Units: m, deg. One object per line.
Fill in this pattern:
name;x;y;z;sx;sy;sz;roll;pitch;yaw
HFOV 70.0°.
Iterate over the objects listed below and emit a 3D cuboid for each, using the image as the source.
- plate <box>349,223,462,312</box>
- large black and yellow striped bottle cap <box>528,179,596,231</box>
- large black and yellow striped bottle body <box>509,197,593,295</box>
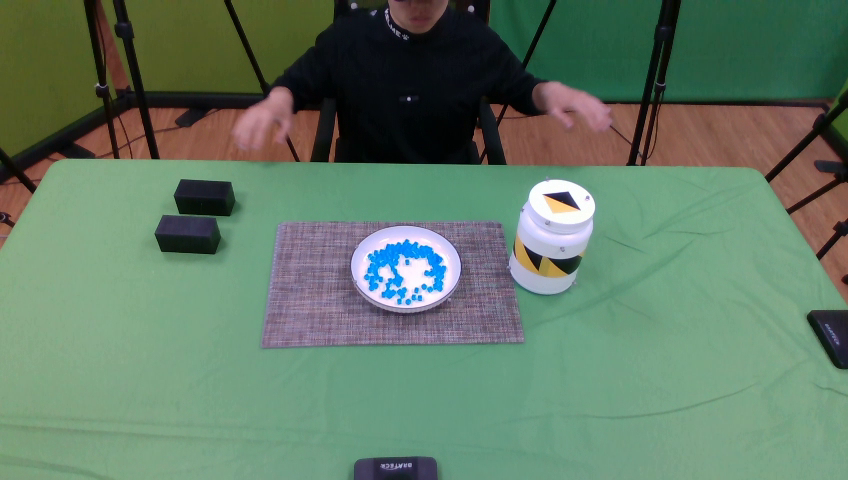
plate;-0.035;0.054;1.126;0.208;0.039;0.206;2;46;-2
large black and yellow striped bottle cap;0.237;-0.062;1.043;0.115;0.019;0.114;1;47;-1
large black and yellow striped bottle body;0.232;-0.004;1.104;0.131;0.185;0.130;2;46;-2
